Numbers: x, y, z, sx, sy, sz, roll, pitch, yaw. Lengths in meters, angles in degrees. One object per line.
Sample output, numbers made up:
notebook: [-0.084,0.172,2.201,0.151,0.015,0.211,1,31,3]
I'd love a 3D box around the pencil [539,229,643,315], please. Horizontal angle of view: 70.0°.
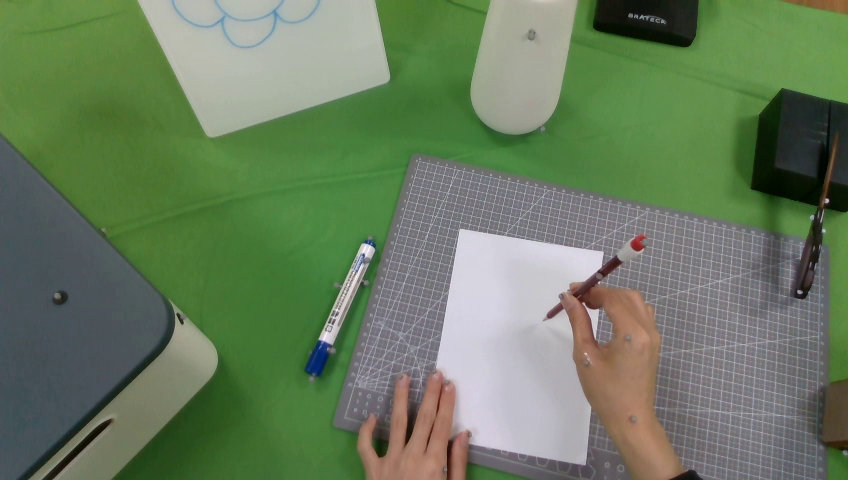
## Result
pencil: [0.131,0.034,0.506,0.012,0.195,0.012,4,65,-9]

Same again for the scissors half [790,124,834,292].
scissors half: [0.391,-0.033,0.607,0.012,0.040,0.175,13,88,30]

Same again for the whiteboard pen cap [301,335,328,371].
whiteboard pen cap: [-0.103,0.107,0.578,0.018,0.018,0.033,19,66,7]

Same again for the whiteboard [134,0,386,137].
whiteboard: [-0.184,-0.296,0.611,0.217,0.308,0.142,-20,51,-7]

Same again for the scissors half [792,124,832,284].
scissors half: [0.382,-0.039,0.589,0.013,0.040,0.174,14,71,25]

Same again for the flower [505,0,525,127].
flower: [0.091,-0.242,0.529,0.044,0.365,0.038,6,51,6]

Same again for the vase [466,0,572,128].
vase: [0.094,-0.198,0.602,0.098,0.201,0.097,0,68,1]

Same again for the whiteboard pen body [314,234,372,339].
whiteboard pen body: [-0.084,0.056,0.599,0.017,0.017,0.140,19,68,7]

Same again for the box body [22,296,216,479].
box body: [-0.394,0.061,0.518,0.362,0.161,0.254,39,74,13]

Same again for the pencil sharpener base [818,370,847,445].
pencil sharpener base: [0.410,0.148,0.522,0.076,0.107,0.061,17,69,3]

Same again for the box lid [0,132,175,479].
box lid: [-0.396,0.033,0.449,0.369,0.015,0.263,39,73,13]
